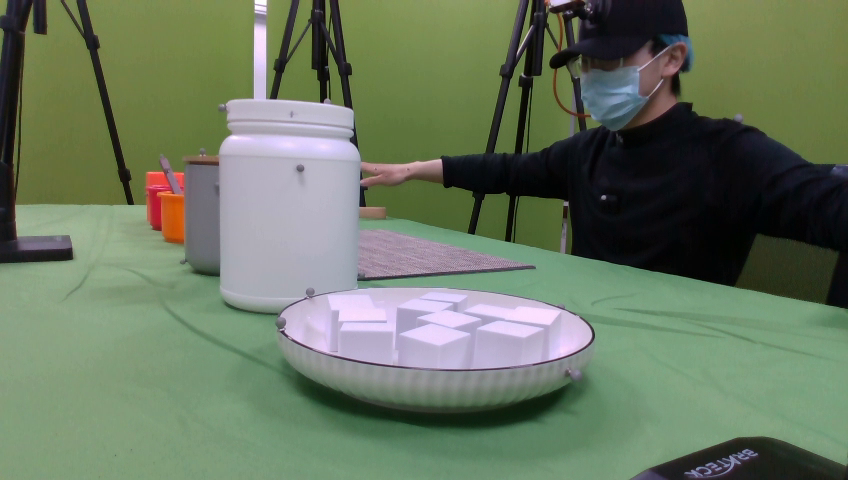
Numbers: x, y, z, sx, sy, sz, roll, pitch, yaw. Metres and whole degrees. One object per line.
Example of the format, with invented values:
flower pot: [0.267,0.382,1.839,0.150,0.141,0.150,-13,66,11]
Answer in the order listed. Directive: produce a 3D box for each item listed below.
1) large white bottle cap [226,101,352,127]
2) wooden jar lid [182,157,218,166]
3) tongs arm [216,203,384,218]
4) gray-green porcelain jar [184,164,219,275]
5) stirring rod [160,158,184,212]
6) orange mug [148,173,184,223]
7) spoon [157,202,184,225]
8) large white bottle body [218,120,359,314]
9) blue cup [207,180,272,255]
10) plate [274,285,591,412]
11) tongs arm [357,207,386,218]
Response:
large white bottle cap: [-0.125,-0.116,0.566,0.115,0.018,0.115,2,8,0]
wooden jar lid: [-0.227,-0.086,0.714,0.108,0.020,0.108,1,6,0]
tongs arm: [-0.288,-0.070,1.435,0.389,0.027,0.028,0,-1,-17]
gray-green porcelain jar: [-0.230,-0.025,0.722,0.106,0.126,0.106,3,7,0]
stirring rod: [-0.390,-0.070,0.972,0.014,0.006,0.175,-2,50,-48]
orange mug: [-0.490,-0.087,1.222,0.127,0.101,0.083,-9,13,-38]
spoon: [-0.425,-0.094,1.117,0.041,0.022,0.194,5,51,28]
large white bottle body: [-0.128,-0.033,0.578,0.131,0.184,0.130,2,7,0]
blue cup: [-0.261,-0.033,0.865,0.093,0.100,0.092,3,9,0]
plate: [0.005,0.069,0.408,0.208,0.039,0.207,2,7,0]
tongs arm: [-0.251,-0.063,1.360,0.387,0.026,0.050,-1,3,-31]
